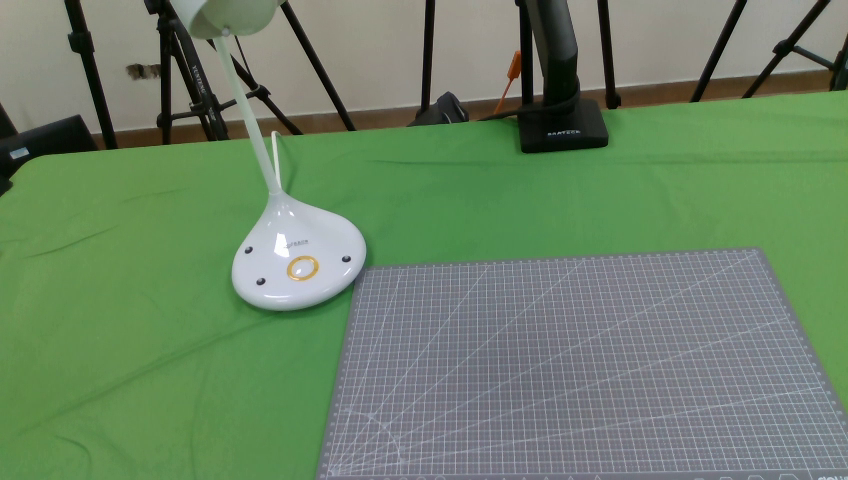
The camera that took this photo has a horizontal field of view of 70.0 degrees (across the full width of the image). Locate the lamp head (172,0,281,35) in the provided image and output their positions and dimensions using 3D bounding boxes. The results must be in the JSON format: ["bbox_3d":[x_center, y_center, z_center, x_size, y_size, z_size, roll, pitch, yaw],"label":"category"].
[{"bbox_3d":[-0.165,-0.237,0.466,0.112,0.123,0.112,-34,4,3],"label":"lamp head"}]

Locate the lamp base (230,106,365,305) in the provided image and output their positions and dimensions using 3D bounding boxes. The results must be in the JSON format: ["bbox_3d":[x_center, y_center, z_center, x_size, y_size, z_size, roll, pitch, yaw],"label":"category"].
[{"bbox_3d":[-0.166,-0.047,0.679,0.161,0.182,0.177,-23,41,-16],"label":"lamp base"}]
